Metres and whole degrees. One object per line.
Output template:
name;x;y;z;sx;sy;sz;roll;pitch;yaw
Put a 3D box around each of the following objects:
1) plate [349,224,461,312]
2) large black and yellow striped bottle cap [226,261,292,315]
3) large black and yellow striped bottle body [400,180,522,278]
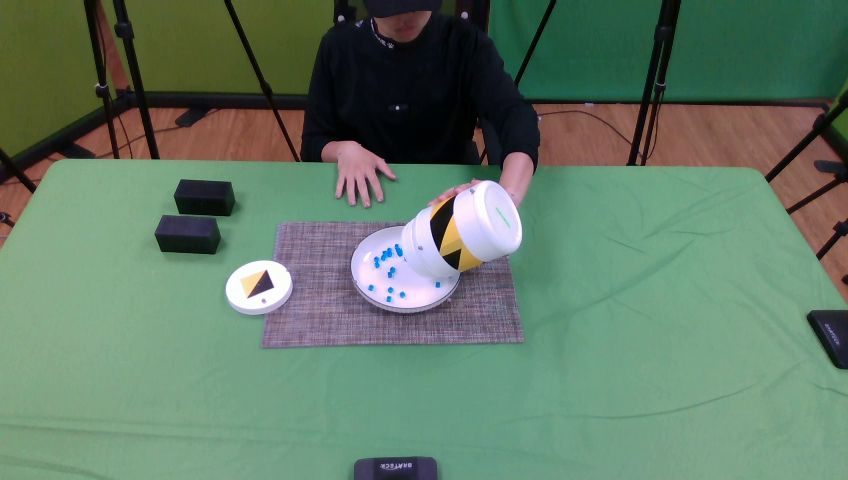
plate;-0.035;0.054;1.126;0.208;0.039;0.206;2;46;-2
large black and yellow striped bottle cap;-0.298;0.085;1.092;0.115;0.019;0.114;0;45;1
large black and yellow striped bottle body;0.062;-0.012;1.049;0.184;0.131;0.130;-24;35;33
